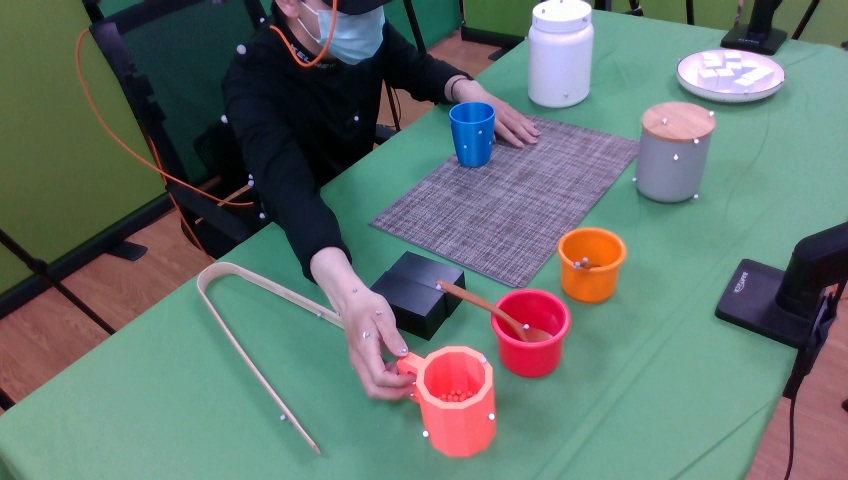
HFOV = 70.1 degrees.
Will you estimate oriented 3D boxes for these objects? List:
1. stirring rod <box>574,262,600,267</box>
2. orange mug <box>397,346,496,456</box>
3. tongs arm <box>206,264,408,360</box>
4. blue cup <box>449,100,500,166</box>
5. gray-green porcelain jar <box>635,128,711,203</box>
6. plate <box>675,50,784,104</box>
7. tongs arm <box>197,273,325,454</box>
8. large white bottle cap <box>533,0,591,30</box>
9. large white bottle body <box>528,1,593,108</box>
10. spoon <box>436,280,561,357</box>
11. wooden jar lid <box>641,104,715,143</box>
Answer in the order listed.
[{"bbox_3d":[0.222,0.033,0.816,0.014,0.006,0.177,8,1,22],"label":"stirring rod"},{"bbox_3d":[0.025,0.179,0.705,0.125,0.101,0.083,24,49,26],"label":"orange mug"},{"bbox_3d":[-0.179,0.107,0.870,0.382,0.027,0.051,23,54,32],"label":"tongs arm"},{"bbox_3d":[0.092,-0.194,1.123,0.092,0.100,0.092,-3,40,3],"label":"blue cup"},{"bbox_3d":[0.405,-0.133,0.992,0.106,0.127,0.105,-4,40,4],"label":"gray-green porcelain jar"},{"bbox_3d":[0.632,-0.336,1.262,0.207,0.039,0.206,-4,41,4],"label":"plate"},{"bbox_3d":[-0.236,0.155,0.830,0.028,0.028,0.384,-37,48,-18],"label":"tongs arm"},{"bbox_3d":[0.274,-0.449,1.204,0.115,0.018,0.114,-4,41,4],"label":"large white bottle cap"},{"bbox_3d":[0.283,-0.386,1.259,0.130,0.185,0.130,-5,41,4],"label":"large white bottle body"},{"bbox_3d":[0.096,0.095,0.758,0.195,0.021,0.041,34,40,-20],"label":"spoon"},{"bbox_3d":[0.398,-0.180,0.952,0.108,0.021,0.108,-4,43,4],"label":"wooden jar lid"}]
